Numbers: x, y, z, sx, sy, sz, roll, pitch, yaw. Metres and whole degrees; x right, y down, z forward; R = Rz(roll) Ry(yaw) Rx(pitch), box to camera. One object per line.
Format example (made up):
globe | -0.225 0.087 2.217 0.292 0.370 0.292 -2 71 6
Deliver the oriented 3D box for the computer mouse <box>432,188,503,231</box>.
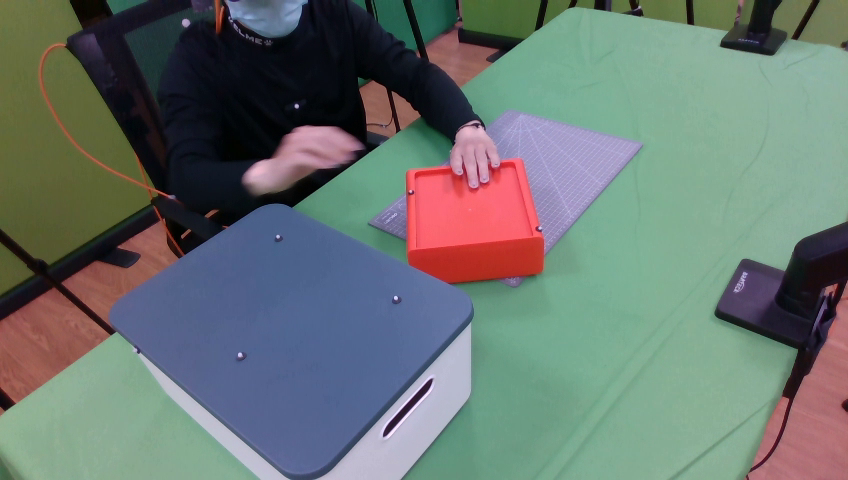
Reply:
computer mouse | 0.071 -0.051 0.994 0.117 0.041 0.062 -10 44 6

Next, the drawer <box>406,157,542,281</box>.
drawer | 0.072 -0.037 0.957 0.194 0.073 0.210 -5 41 1

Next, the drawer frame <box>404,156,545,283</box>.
drawer frame | 0.073 -0.036 0.953 0.202 0.083 0.212 -6 41 1

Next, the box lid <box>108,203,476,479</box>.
box lid | -0.156 0.079 0.678 0.368 0.015 0.264 24 49 32

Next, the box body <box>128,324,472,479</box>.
box body | -0.147 0.136 0.726 0.361 0.161 0.255 24 50 32
